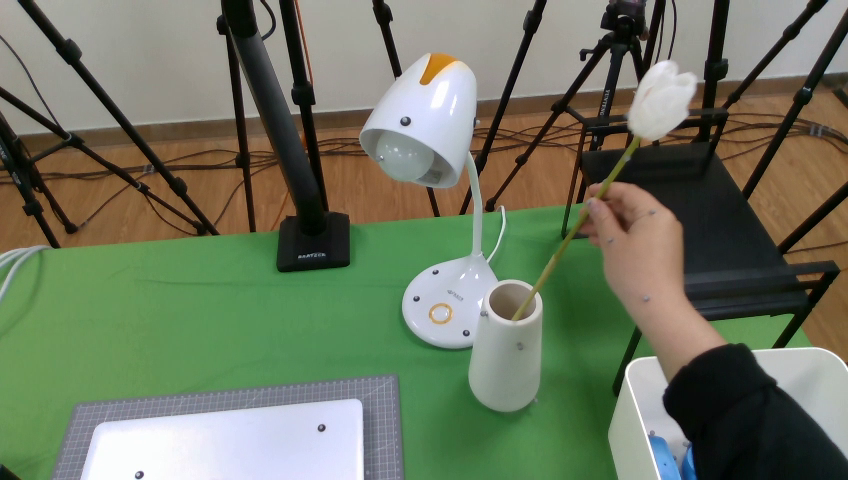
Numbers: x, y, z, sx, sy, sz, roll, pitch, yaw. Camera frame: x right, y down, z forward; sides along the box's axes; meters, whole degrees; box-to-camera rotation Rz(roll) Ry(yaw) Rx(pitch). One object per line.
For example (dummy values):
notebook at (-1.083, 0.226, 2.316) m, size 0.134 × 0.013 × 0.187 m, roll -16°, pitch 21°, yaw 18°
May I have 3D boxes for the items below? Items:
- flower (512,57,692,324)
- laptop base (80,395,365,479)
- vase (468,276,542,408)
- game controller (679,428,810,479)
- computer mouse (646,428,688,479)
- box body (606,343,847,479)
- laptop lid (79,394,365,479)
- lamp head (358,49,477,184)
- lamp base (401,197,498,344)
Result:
flower at (0.143, -0.010, 0.584) m, size 0.038 × 0.364 × 0.043 m, roll -1°, pitch 48°, yaw -23°
laptop base at (-0.249, 0.315, 0.745) m, size 0.355 × 0.023 × 0.233 m, roll -5°, pitch 52°, yaw -3°
vase at (0.105, 0.133, 0.780) m, size 0.098 × 0.202 × 0.097 m, roll -2°, pitch 46°, yaw 2°
game controller at (0.390, 0.279, 0.737) m, size 0.155 × 0.052 × 0.096 m, roll -2°, pitch 46°, yaw -2°
computer mouse at (0.281, 0.280, 0.740) m, size 0.063 × 0.041 × 0.116 m, roll -6°, pitch 39°, yaw -2°
box body at (0.362, 0.308, 0.639) m, size 0.254 × 0.162 × 0.360 m, roll -3°, pitch 48°, yaw -1°
laptop lid at (-0.249, 0.309, 0.735) m, size 0.357 × 0.013 × 0.239 m, roll -4°, pitch 50°, yaw -2°
lamp head at (0.006, -0.133, 0.632) m, size 0.112 × 0.113 × 0.122 m, roll 19°, pitch 69°, yaw 18°
lamp base at (0.049, 0.032, 0.886) m, size 0.159 × 0.182 × 0.178 m, roll 22°, pitch 49°, yaw 20°
